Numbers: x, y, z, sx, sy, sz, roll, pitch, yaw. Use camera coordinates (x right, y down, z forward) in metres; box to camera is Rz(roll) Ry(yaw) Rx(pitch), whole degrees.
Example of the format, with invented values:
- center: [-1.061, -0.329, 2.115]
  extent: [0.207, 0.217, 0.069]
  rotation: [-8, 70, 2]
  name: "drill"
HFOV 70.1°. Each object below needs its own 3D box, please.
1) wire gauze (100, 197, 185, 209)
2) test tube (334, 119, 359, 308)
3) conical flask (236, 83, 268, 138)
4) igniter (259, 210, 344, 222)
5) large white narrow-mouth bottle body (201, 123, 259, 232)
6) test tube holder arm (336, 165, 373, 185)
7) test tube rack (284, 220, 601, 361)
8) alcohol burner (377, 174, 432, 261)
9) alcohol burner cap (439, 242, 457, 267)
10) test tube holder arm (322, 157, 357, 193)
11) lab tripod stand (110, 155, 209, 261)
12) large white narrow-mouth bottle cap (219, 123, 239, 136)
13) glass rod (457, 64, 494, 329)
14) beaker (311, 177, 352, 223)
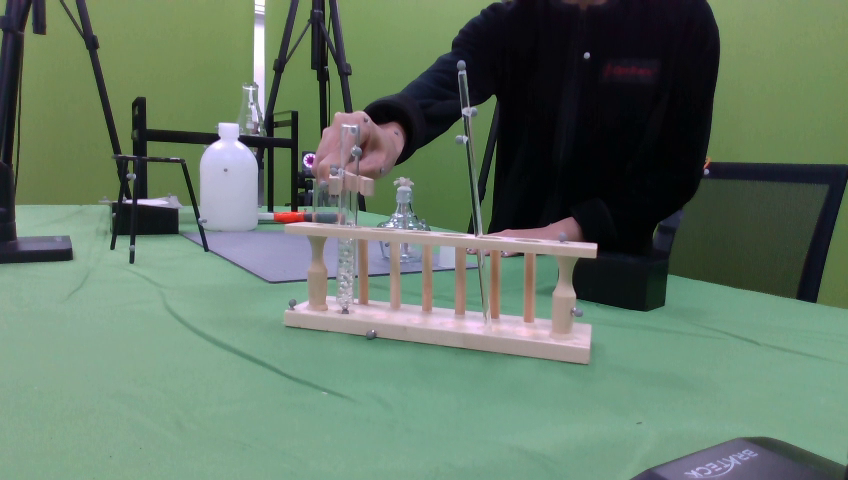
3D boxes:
- center: [-0.469, -0.062, 1.008]
  extent: [0.126, 0.011, 0.121]
  rotation: [-2, 8, -25]
  name: "wire gauze"
- center: [-0.061, -0.019, 0.475]
  extent: [0.017, 0.150, 0.017]
  rotation: [3, 11, 0]
  name: "test tube"
- center: [-0.400, -0.298, 1.396]
  extent: [0.075, 0.122, 0.075]
  rotation: [2, 8, 0]
  name: "conical flask"
- center: [-0.303, -0.049, 1.258]
  extent: [0.278, 0.025, 0.057]
  rotation: [-2, -2, -28]
  name: "igniter"
- center: [-0.358, -0.116, 1.116]
  extent: [0.102, 0.194, 0.102]
  rotation: [2, 8, 0]
  name: "large white narrow-mouth bottle body"
- center: [-0.060, -0.055, 0.497]
  extent: [0.010, 0.015, 0.087]
  rotation: [-18, 13, -20]
  name: "test tube holder arm"
- center: [0.013, 0.032, 0.482]
  extent: [0.242, 0.085, 0.067]
  rotation: [4, 7, 16]
  name: "test tube rack"
- center: [-0.027, -0.031, 0.838]
  extent: [0.078, 0.119, 0.078]
  rotation: [0, 6, 0]
  name: "alcohol burner"
- center: [0.038, 0.011, 0.807]
  extent: [0.034, 0.048, 0.034]
  rotation: [3, 8, 0]
  name: "alcohol burner cap"
- center: [-0.072, -0.061, 0.539]
  extent: [0.013, 0.015, 0.178]
  rotation: [-12, 12, 0]
  name: "test tube holder arm"
- center: [-0.362, -0.046, 0.806]
  extent: [0.148, 0.131, 0.148]
  rotation: [2, 5, 0]
  name: "lab tripod stand"
- center: [-0.356, -0.201, 1.104]
  extent: [0.038, 0.024, 0.037]
  rotation: [2, 8, 0]
  name: "large white narrow-mouth bottle cap"
- center: [0.039, -0.028, 0.449]
  extent: [0.008, 0.199, 0.008]
  rotation: [-7, 9, 1]
  name: "glass rod"
- center: [-0.167, -0.064, 1.106]
  extent: [0.074, 0.100, 0.083]
  rotation: [-2, 9, -27]
  name: "beaker"
